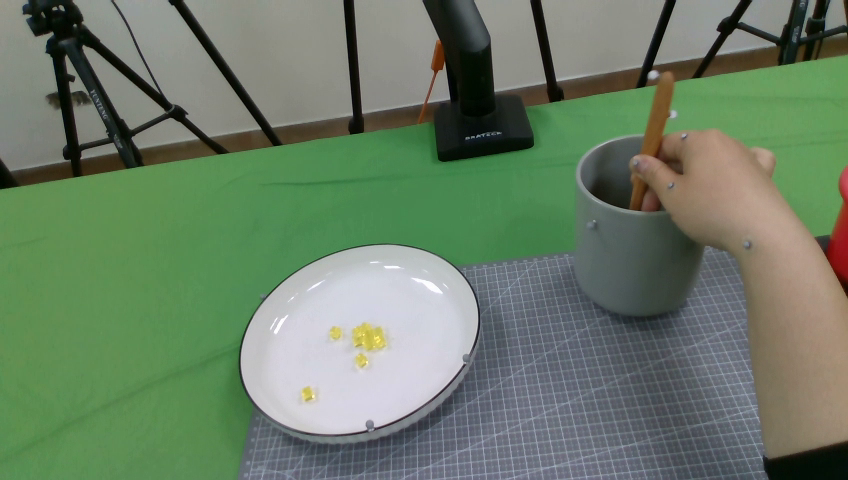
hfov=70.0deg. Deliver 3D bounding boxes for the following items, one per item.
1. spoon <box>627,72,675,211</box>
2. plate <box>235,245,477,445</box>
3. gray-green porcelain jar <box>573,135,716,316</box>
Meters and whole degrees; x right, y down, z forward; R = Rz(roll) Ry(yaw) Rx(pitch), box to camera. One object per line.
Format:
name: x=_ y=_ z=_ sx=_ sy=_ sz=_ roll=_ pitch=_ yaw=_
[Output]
spoon: x=0.168 y=-0.033 z=0.474 sx=0.041 sy=0.195 sz=0.021 roll=25 pitch=38 yaw=32
plate: x=-0.056 y=0.087 z=0.527 sx=0.207 sy=0.039 sz=0.205 roll=-6 pitch=42 yaw=6
gray-green porcelain jar: x=0.179 y=-0.007 z=0.510 sx=0.106 sy=0.128 sz=0.105 roll=-7 pitch=42 yaw=6
